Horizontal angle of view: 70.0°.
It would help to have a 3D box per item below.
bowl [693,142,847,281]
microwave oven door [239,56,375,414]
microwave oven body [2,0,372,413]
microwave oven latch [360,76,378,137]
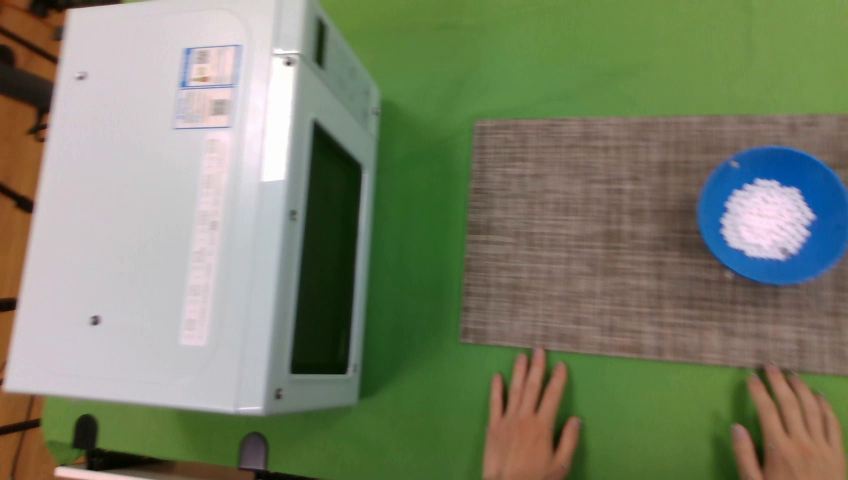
[{"bbox_3d":[0.375,-0.024,0.674,0.151,0.077,0.150,-3,78,14],"label":"bowl"},{"bbox_3d":[-0.121,0.010,0.692,0.039,0.245,0.354,0,78,15],"label":"microwave oven door"},{"bbox_3d":[-0.259,-0.031,0.741,0.325,0.262,0.440,1,79,14],"label":"microwave oven body"},{"bbox_3d":[-0.080,-0.182,0.828,0.030,0.030,0.079,1,79,14],"label":"microwave oven latch"}]
